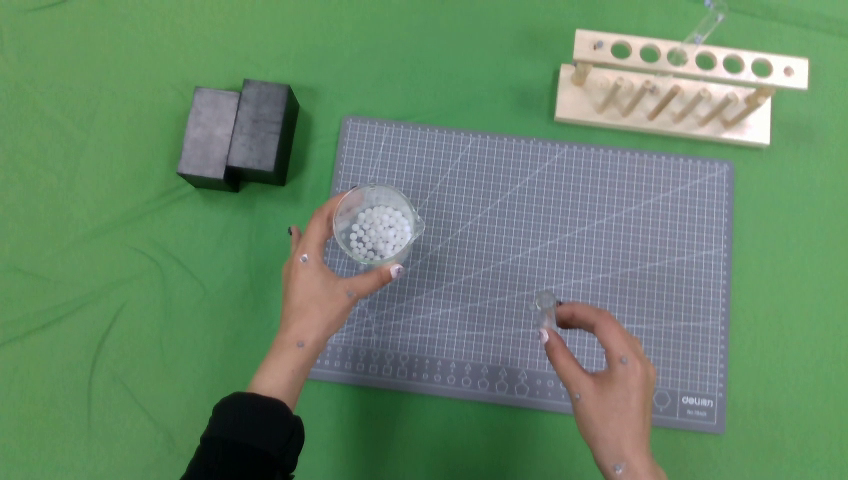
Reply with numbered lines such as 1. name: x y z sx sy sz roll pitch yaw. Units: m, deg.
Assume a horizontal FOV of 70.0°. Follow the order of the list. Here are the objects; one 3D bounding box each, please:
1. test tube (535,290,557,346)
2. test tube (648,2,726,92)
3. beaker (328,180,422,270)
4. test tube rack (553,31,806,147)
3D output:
1. test tube: 0.109 0.072 0.534 0.017 0.152 0.017 -4 68 11
2. test tube: 0.264 -0.192 0.622 0.017 0.151 0.017 1 76 -3
3. beaker: -0.045 -0.010 0.584 0.084 0.100 0.074 2 82 -2
4. test tube rack: 0.273 -0.163 0.666 0.242 0.085 0.066 8 78 2
